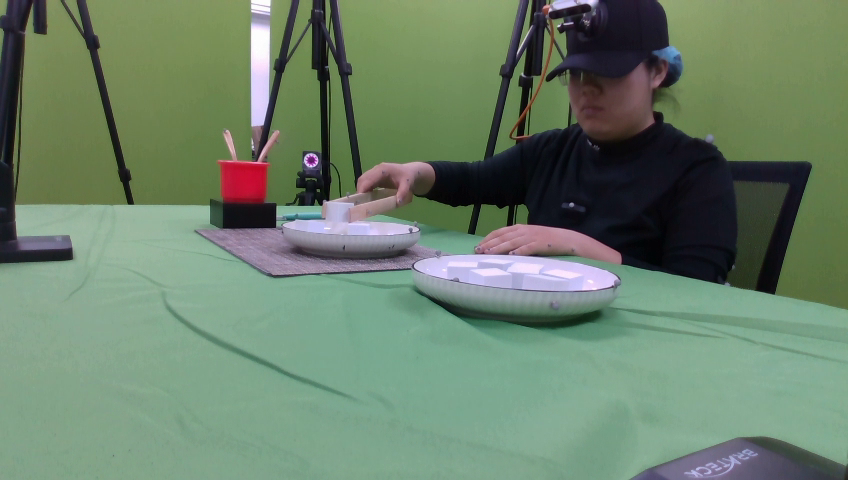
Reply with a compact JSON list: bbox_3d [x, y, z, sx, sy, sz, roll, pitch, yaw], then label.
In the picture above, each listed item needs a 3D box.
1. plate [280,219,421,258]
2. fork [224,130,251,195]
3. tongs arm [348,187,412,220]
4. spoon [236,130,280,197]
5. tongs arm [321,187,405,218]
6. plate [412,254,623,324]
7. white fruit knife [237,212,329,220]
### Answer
[{"bbox_3d":[-0.108,-0.002,0.902,0.208,0.039,0.207,3,7,0],"label":"plate"},{"bbox_3d":[-0.372,-0.155,1.193,0.028,0.018,0.206,-17,54,-13],"label":"fork"},{"bbox_3d":[-0.072,-0.070,1.099,0.028,0.028,0.388,1,9,13],"label":"tongs arm"},{"bbox_3d":[-0.321,-0.154,1.192,0.041,0.193,0.022,0,-37,19],"label":"spoon"},{"bbox_3d":[-0.099,-0.073,1.105,0.051,0.026,0.385,4,9,9],"label":"tongs arm"},{"bbox_3d":[0.090,0.047,0.609,0.209,0.038,0.209,2,7,0],"label":"plate"},{"bbox_3d":[-0.304,-0.050,1.328,0.208,0.016,0.027,-3,-19,-30],"label":"white fruit knife"}]
